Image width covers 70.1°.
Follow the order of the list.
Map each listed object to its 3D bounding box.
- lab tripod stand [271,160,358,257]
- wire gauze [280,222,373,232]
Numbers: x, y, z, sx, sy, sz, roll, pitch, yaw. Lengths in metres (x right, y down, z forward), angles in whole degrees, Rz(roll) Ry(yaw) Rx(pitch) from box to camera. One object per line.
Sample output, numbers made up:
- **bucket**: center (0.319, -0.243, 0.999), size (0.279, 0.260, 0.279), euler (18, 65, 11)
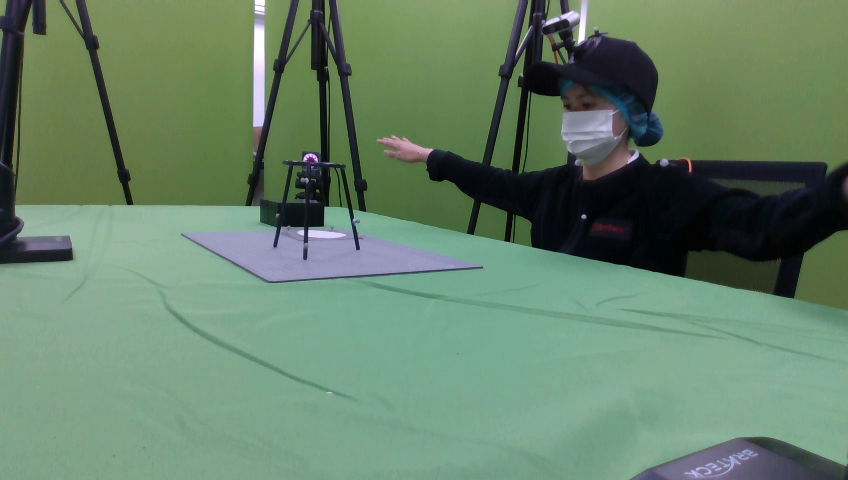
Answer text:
- **lab tripod stand**: center (-0.159, -0.048, 0.876), size (0.148, 0.131, 0.148), euler (3, 5, 0)
- **wire gauze**: center (-0.173, -0.025, 1.072), size (0.121, 0.011, 0.126), euler (6, 2, 38)
